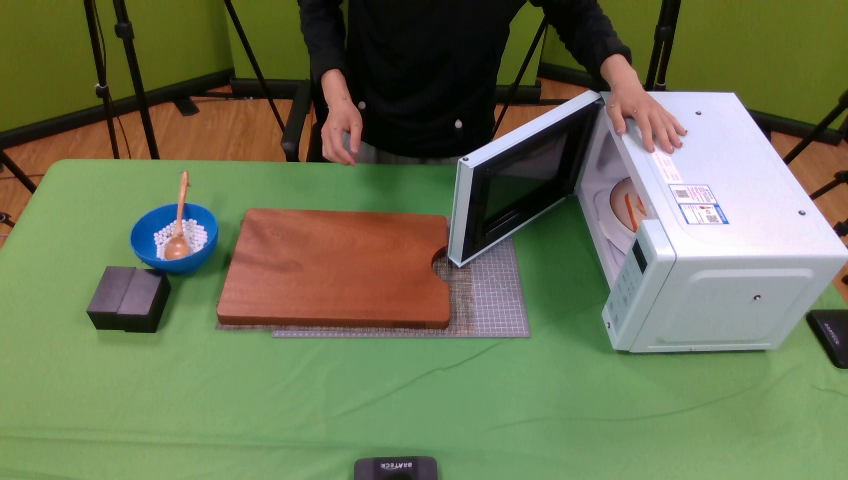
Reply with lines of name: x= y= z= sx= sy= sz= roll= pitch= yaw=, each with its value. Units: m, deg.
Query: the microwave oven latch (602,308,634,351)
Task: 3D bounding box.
microwave oven latch: x=0.332 y=0.153 z=1.044 sx=0.030 sy=0.029 sz=0.078 roll=-1 pitch=45 yaw=-4

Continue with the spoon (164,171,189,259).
spoon: x=-0.452 y=-0.046 z=1.129 sx=0.041 sy=0.022 sz=0.193 roll=-1 pitch=69 yaw=-3

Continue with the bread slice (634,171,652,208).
bread slice: x=0.464 y=-0.086 z=1.136 sx=0.134 sy=0.018 sz=0.106 roll=8 pitch=43 yaw=-12

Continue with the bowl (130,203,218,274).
bowl: x=-0.450 y=0.010 z=1.116 sx=0.151 sy=0.077 sz=0.150 roll=3 pitch=45 yaw=-2

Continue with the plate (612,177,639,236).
plate: x=0.472 y=-0.051 z=1.187 sx=0.208 sy=0.039 sz=0.206 roll=-1 pitch=45 yaw=1

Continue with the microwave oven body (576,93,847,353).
microwave oven body: x=0.475 y=-0.041 z=1.109 sx=0.326 sy=0.261 sz=0.438 roll=-1 pitch=45 yaw=-4

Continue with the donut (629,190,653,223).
donut: x=0.443 y=-0.059 z=1.163 sx=0.099 sy=0.048 sz=0.098 roll=1 pitch=50 yaw=-1

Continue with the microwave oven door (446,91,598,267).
microwave oven door: x=0.191 y=-0.120 z=1.157 sx=0.356 sy=0.245 sz=0.039 roll=-31 pitch=55 yaw=-30

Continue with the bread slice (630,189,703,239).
bread slice: x=0.478 y=-0.052 z=1.189 sx=0.131 sy=0.019 sz=0.104 roll=17 pitch=47 yaw=13
